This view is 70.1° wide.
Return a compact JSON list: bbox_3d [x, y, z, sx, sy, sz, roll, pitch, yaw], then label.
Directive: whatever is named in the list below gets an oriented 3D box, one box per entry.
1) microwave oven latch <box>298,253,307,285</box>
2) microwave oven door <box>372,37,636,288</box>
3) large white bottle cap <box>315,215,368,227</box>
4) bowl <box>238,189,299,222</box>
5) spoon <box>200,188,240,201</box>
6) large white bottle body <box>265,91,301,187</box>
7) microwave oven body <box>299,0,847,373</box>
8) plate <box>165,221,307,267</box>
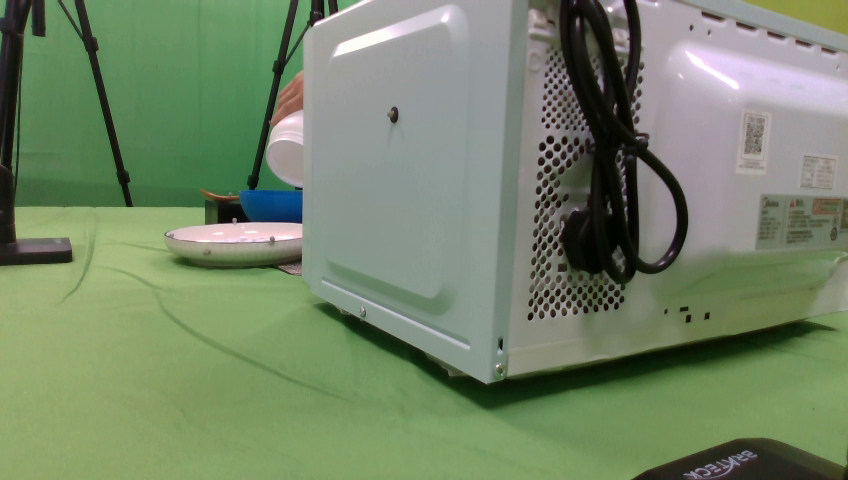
[{"bbox_3d":[-0.081,0.027,0.582,0.079,0.029,0.030,-1,7,-32],"label":"microwave oven latch"},{"bbox_3d":[0.110,-0.080,0.686,0.358,0.243,0.039,-2,9,-33],"label":"microwave oven door"},{"bbox_3d":[-0.177,-0.041,1.309,0.115,0.018,0.115,2,6,0],"label":"large white bottle cap"},{"bbox_3d":[-0.245,-0.046,1.052,0.151,0.077,0.151,2,8,0],"label":"bowl"},{"bbox_3d":[-0.338,-0.080,1.190,0.194,0.021,0.041,5,3,-19],"label":"spoon"},{"bbox_3d":[-0.213,-0.198,1.148,0.130,0.131,0.184,5,45,15],"label":"large white bottle body"},{"bbox_3d":[0.151,-0.055,0.542,0.444,0.260,0.324,-2,7,-33],"label":"microwave oven body"},{"bbox_3d":[-0.241,0.004,0.829,0.209,0.038,0.209,0,9,0],"label":"plate"}]
